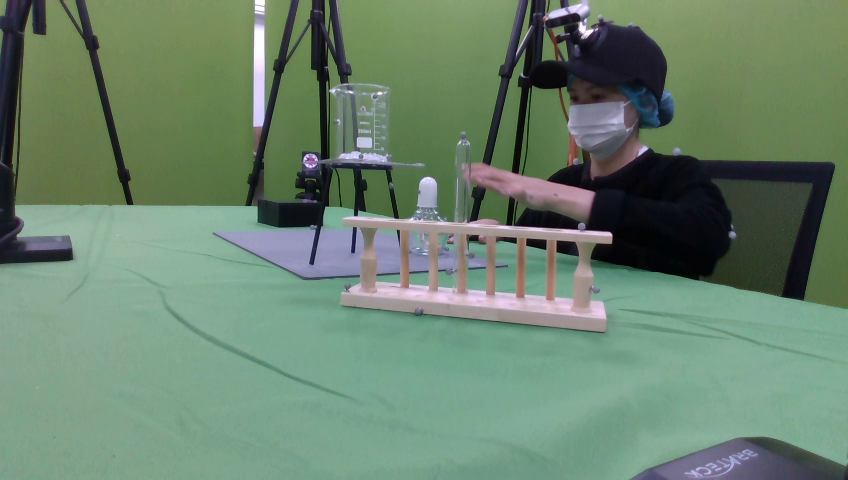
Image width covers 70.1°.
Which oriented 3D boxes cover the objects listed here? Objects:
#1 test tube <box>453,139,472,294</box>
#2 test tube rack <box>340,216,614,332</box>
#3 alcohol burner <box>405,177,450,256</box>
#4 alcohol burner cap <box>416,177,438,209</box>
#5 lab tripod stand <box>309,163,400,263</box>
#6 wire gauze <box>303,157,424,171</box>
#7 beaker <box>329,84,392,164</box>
[{"bbox_3d":[0.037,-0.021,0.584,0.017,0.150,0.017,1,7,0],"label":"test tube"},{"bbox_3d":[0.048,0.026,0.568,0.242,0.085,0.067,4,7,13],"label":"test tube rack"},{"bbox_3d":[0.004,-0.036,0.917,0.078,0.119,0.078,3,6,0],"label":"alcohol burner"},{"bbox_3d":[0.005,-0.072,0.914,0.034,0.048,0.034,3,9,0],"label":"alcohol burner cap"},{"bbox_3d":[-0.091,-0.037,0.813,0.148,0.131,0.148,1,6,0],"label":"lab tripod stand"},{"bbox_3d":[-0.082,-0.101,0.799,0.126,0.011,0.121,1,7,-30],"label":"wire gauze"},{"bbox_3d":[-0.084,-0.149,0.794,0.084,0.100,0.073,-1,6,-23],"label":"beaker"}]
